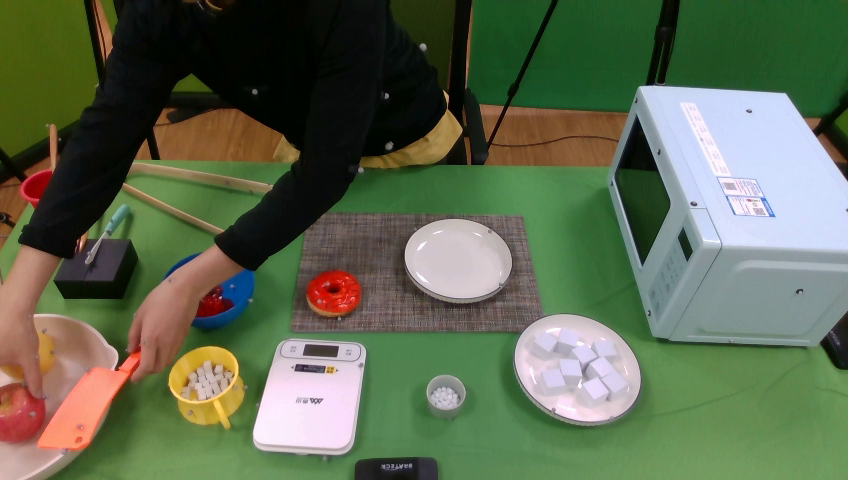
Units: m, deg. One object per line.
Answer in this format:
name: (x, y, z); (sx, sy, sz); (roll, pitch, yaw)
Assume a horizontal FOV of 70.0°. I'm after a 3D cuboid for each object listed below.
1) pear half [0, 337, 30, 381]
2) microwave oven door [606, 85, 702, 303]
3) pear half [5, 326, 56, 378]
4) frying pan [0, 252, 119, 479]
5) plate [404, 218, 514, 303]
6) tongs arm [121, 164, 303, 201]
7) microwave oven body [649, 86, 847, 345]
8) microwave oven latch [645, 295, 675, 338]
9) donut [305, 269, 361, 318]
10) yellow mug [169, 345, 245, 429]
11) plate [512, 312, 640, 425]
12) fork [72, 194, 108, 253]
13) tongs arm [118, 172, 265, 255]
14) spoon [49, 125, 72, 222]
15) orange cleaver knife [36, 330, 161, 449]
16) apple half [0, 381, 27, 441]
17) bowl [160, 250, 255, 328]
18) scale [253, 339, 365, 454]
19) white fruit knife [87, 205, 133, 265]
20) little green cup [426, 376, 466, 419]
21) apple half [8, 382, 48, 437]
pear half: (-0.632, 0.185, 0.921); (0.070, 0.088, 0.031); (33, 49, 21)
microwave oven door: (0.422, -0.094, 1.140); (0.039, 0.245, 0.353); (2, 46, -1)
pear half: (-0.608, 0.158, 0.935); (0.076, 0.110, 0.056); (31, 52, 19)
frying pan: (-0.647, 0.164, 0.936); (0.307, 0.103, 0.485); (-18, 58, -22)
plate: (0.065, 0.042, 1.146); (0.209, 0.038, 0.208); (2, 46, -2)
tongs arm: (-0.444, -0.114, 1.267); (0.384, 0.026, 0.050); (12, 52, 7)
microwave oven body: (0.567, -0.053, 1.118); (0.326, 0.261, 0.439); (2, 45, -1)
microwave oven latch: (0.411, 0.134, 1.061); (0.030, 0.029, 0.078); (3, 45, 0)
donut: (-0.160, 0.094, 1.075); (0.099, 0.048, 0.098); (4, 45, -4)
yellow mug: (-0.322, 0.230, 0.922); (0.100, 0.064, 0.130); (-23, 53, -25)
plate: (0.246, 0.213, 0.999); (0.208, 0.039, 0.206); (2, 46, -2)
fork: (-0.634, -0.036, 1.158); (0.028, 0.019, 0.206); (-8, 32, -8)
tongs arm: (-0.473, -0.053, 1.213); (0.386, 0.028, 0.028); (23, 58, 17)
spoon: (-0.718, -0.131, 1.189); (0.041, 0.021, 0.193); (-4, 91, -7)
orange cleaver knife: (-0.466, 0.210, 0.880); (0.077, 0.012, 0.210); (15, 46, 9)
apple half: (-0.602, 0.250, 0.870); (0.053, 0.075, 0.080); (-11, 50, -9)
bowl: (-0.362, 0.098, 1.040); (0.151, 0.077, 0.150); (2, 45, -2)
scale: (-0.175, 0.236, 0.951); (0.149, 0.032, 0.199); (4, 45, 0)
white fruit knife: (-0.584, -0.013, 1.129); (0.016, 0.027, 0.206); (0, 31, -5)
little green cup: (0.033, 0.248, 0.950); (0.061, 0.039, 0.061); (2, 46, -2)
apple half: (-0.564, 0.243, 0.878); (0.033, 0.082, 0.080); (-12, 48, -7)
